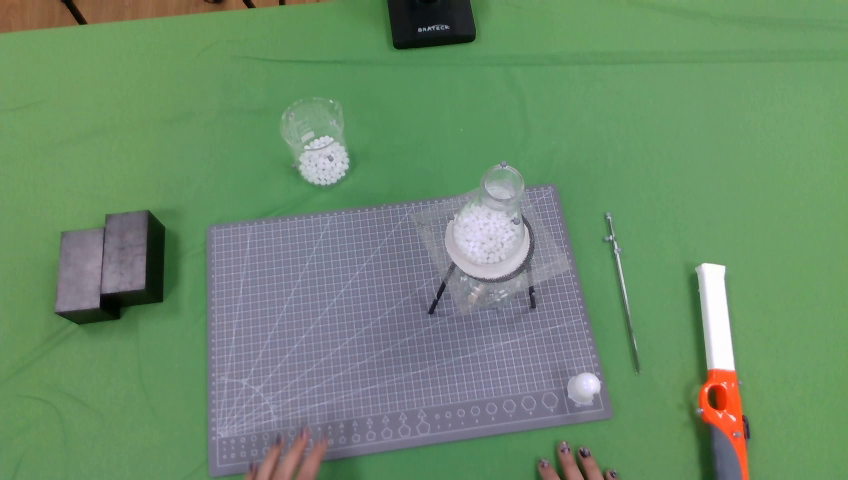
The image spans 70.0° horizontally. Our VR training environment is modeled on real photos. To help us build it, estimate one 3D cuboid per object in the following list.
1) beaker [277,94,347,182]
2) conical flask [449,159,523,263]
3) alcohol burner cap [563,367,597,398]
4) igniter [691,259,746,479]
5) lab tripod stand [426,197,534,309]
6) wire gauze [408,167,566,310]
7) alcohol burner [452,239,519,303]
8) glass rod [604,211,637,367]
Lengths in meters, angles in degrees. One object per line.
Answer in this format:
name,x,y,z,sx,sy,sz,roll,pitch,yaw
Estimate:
beaker,-0.133,-0.124,0.756,0.073,0.101,0.084,39,73,13
conical flask,0.063,-0.030,0.565,0.075,0.122,0.075,0,70,-1
alcohol burner cap,0.177,0.157,0.677,0.034,0.048,0.033,1,69,-1
igniter,0.334,0.153,0.692,0.057,0.025,0.274,8,68,-9
lab tripod stand,0.064,0.022,0.679,0.148,0.132,0.147,0,70,0
wire gauze,0.064,-0.003,0.619,0.125,0.011,0.120,-22,73,-11
alcohol burner,0.072,0.030,0.688,0.078,0.120,0.077,1,68,-2
glass rod,0.238,0.055,0.739,0.008,0.008,0.198,-3,68,-2
